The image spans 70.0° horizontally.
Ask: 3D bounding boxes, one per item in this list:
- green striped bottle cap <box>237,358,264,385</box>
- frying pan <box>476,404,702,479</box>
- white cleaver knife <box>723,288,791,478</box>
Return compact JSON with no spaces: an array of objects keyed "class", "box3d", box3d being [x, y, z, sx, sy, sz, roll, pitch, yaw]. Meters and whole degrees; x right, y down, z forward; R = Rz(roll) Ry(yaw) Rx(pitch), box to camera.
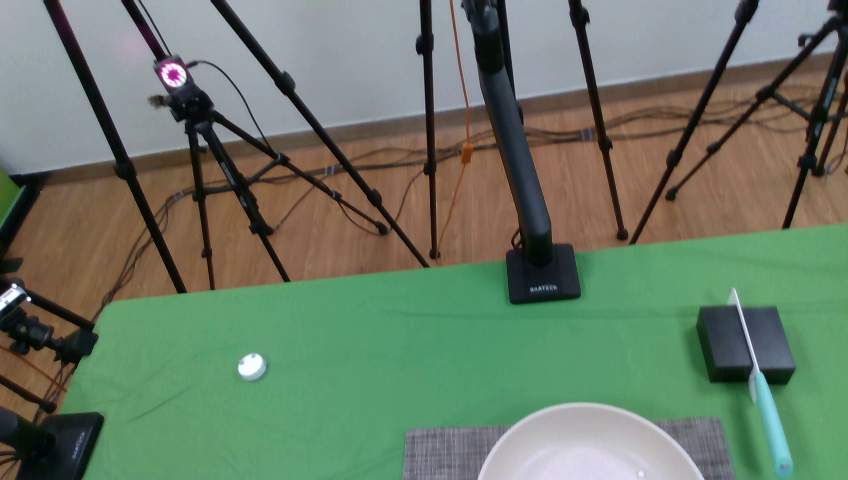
[{"class":"green striped bottle cap","box3d":[-0.299,0.226,1.043,0.044,0.020,0.044,-8,49,9]},{"class":"frying pan","box3d":[0.195,0.423,0.684,0.306,0.104,0.483,-5,41,12]},{"class":"white cleaver knife","box3d":[0.458,0.189,0.845,0.021,0.066,0.284,-7,47,16]}]
